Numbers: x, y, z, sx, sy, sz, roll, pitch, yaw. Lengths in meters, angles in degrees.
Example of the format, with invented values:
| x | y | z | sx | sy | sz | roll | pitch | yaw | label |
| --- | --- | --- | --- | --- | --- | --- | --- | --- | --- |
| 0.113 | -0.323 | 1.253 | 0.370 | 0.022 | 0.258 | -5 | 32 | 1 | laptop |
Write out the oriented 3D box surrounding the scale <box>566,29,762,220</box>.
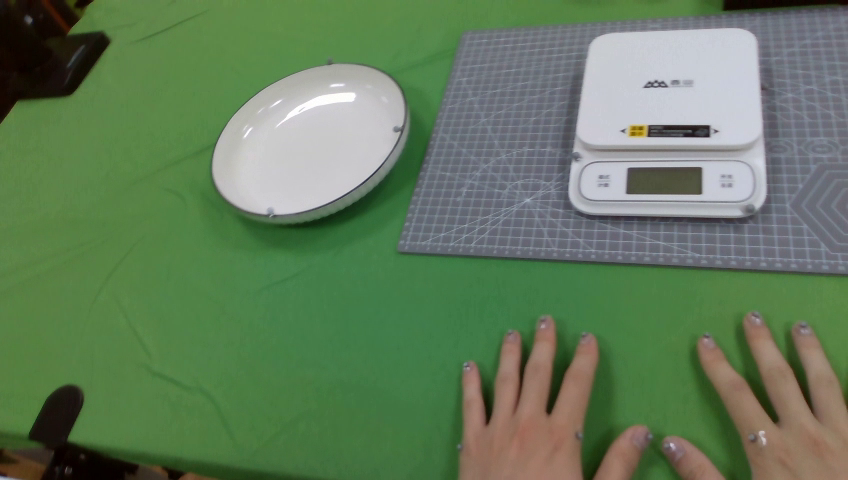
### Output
| x | y | z | sx | sy | sz | roll | pitch | yaw | label |
| --- | --- | --- | --- | --- | --- | --- | --- | --- | --- |
| 0.205 | -0.105 | 0.526 | 0.148 | 0.032 | 0.199 | 2 | 57 | 19 | scale |

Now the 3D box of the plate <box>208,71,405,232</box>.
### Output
| x | y | z | sx | sy | sz | roll | pitch | yaw | label |
| --- | --- | --- | --- | --- | --- | --- | --- | --- | --- |
| -0.117 | -0.089 | 0.618 | 0.209 | 0.038 | 0.207 | -8 | 54 | 12 | plate |
